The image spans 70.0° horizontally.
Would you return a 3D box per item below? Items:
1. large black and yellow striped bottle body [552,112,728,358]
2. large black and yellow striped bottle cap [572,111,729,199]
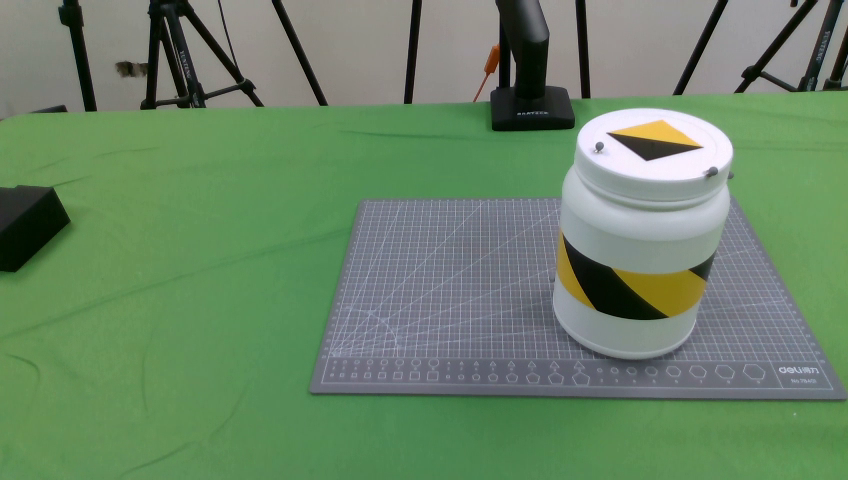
[{"bbox_3d":[0.181,-0.003,0.524,0.131,0.185,0.129,-3,39,3],"label":"large black and yellow striped bottle body"},{"bbox_3d":[0.174,-0.070,0.472,0.115,0.019,0.114,-2,37,2],"label":"large black and yellow striped bottle cap"}]
